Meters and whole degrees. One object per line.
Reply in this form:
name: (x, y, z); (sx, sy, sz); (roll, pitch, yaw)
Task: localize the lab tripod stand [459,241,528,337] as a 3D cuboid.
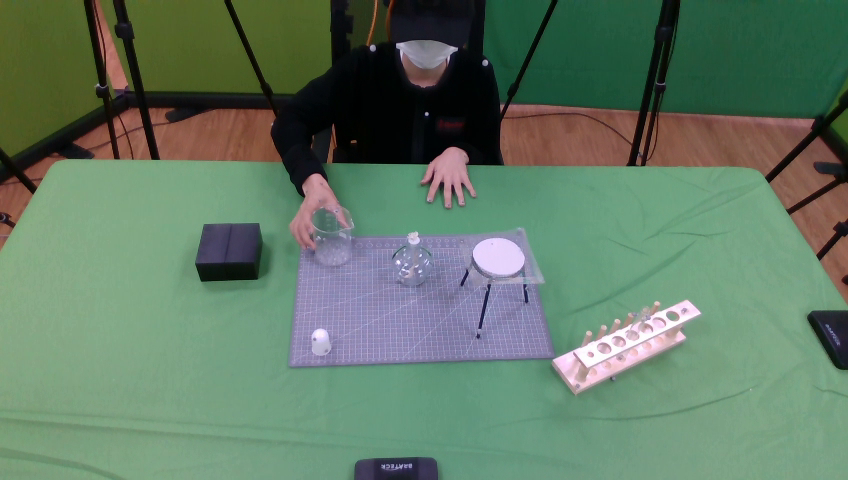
lab tripod stand: (0.122, 0.075, 1.054); (0.148, 0.132, 0.147); (3, 44, -3)

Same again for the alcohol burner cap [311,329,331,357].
alcohol burner cap: (-0.173, 0.168, 1.004); (0.034, 0.048, 0.033); (2, 46, -2)

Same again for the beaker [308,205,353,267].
beaker: (-0.172, -0.004, 1.132); (0.084, 0.101, 0.073); (15, 47, 8)

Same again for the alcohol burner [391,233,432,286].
alcohol burner: (-0.022, 0.028, 1.102); (0.078, 0.119, 0.077); (2, 48, -2)

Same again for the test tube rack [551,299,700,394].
test tube rack: (0.339, 0.166, 1.021); (0.242, 0.085, 0.066); (-19, 50, -21)

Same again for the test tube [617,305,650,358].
test tube: (0.333, 0.149, 0.967); (0.017, 0.151, 0.017); (0, 52, 1)

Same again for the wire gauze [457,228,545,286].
wire gauze: (0.126, 0.029, 1.006); (0.125, 0.011, 0.120); (-4, 46, -10)
